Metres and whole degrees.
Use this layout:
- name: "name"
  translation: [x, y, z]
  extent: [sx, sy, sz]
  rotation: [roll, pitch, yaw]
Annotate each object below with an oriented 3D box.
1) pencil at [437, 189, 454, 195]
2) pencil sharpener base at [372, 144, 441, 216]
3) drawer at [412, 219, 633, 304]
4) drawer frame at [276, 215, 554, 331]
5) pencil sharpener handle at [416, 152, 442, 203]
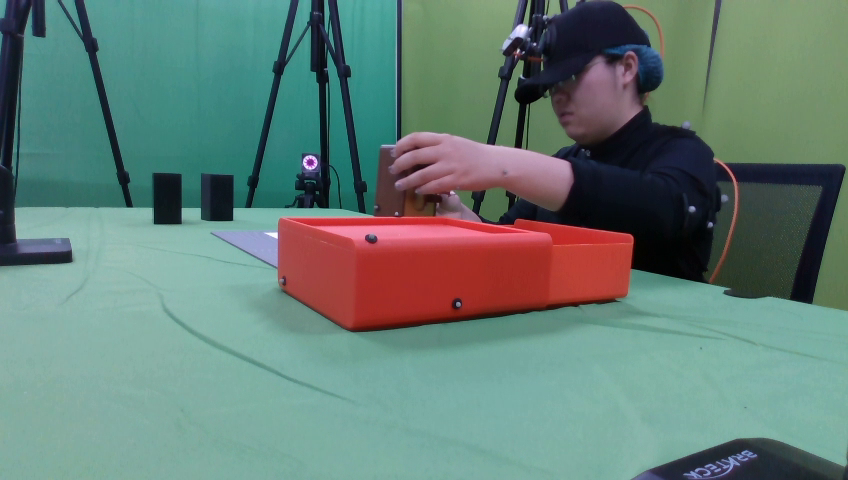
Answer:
- name: "pencil"
  translation: [0.016, -0.094, 1.143]
  extent: [0.012, 0.012, 0.193]
  rotation: [0, 8, -23]
- name: "pencil sharpener base"
  translation: [-0.023, -0.076, 0.840]
  extent: [0.062, 0.107, 0.076]
  rotation: [3, 5, -41]
- name: "drawer"
  translation: [0.085, 0.020, 0.674]
  extent: [0.213, 0.073, 0.193]
  rotation: [-2, 9, -32]
- name: "drawer frame"
  translation: [-0.015, 0.022, 0.610]
  extent: [0.215, 0.082, 0.200]
  rotation: [-3, 9, -32]
- name: "pencil sharpener handle"
  translation: [0.012, -0.083, 0.802]
  extent: [0.036, 0.067, 0.030]
  rotation: [-4, 9, -40]
